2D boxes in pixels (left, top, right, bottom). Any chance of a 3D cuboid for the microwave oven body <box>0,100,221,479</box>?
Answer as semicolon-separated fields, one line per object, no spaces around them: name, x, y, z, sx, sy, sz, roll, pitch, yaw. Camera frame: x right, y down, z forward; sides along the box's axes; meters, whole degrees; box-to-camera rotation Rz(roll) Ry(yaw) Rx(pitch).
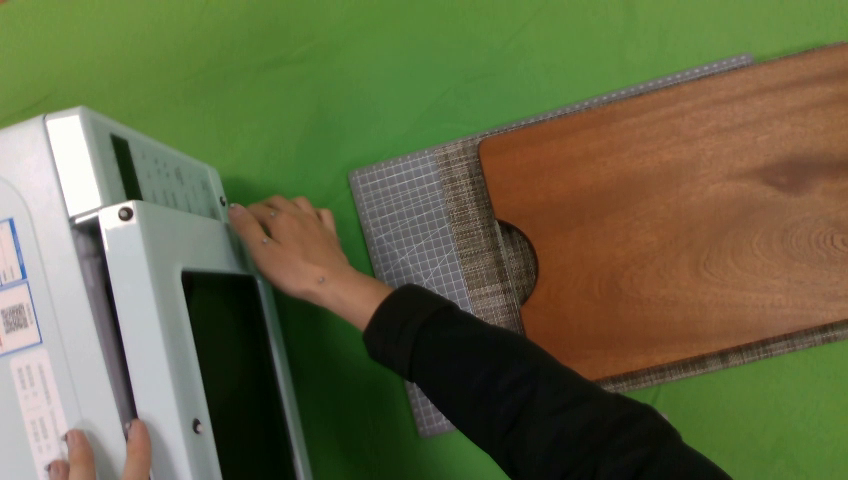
microwave oven body;-0.327;0.159;0.546;0.326;0.260;0.441;-18;86;3

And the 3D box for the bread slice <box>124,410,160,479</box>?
bread slice;-0.272;0.223;0.526;0.134;0.018;0.107;-37;88;15

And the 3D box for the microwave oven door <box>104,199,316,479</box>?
microwave oven door;-0.164;0.151;0.529;0.039;0.244;0.355;-14;86;4

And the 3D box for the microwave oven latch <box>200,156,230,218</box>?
microwave oven latch;-0.231;-0.048;0.645;0.030;0.029;0.079;-18;87;3

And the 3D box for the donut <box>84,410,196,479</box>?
donut;-0.268;0.209;0.575;0.099;0.048;0.099;-3;103;-11

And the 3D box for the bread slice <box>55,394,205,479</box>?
bread slice;-0.297;0.223;0.611;0.132;0.019;0.105;-13;96;-9
